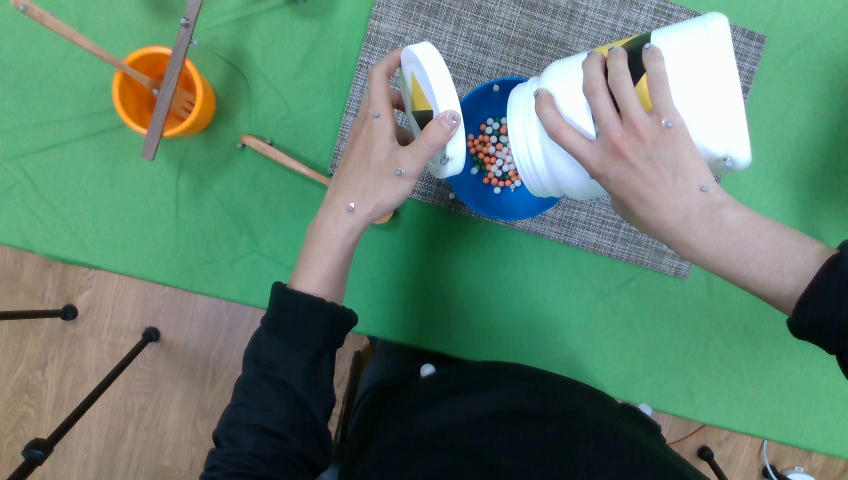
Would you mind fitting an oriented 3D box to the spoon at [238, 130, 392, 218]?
[{"bbox_3d":[-0.125,-0.080,0.693,0.194,0.021,0.042,27,108,-6],"label":"spoon"}]

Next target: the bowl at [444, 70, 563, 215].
[{"bbox_3d":[0.088,-0.104,0.671,0.151,0.076,0.151,0,96,-3],"label":"bowl"}]

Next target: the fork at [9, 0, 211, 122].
[{"bbox_3d":[-0.307,-0.180,0.609,0.028,0.018,0.209,-52,139,5],"label":"fork"}]

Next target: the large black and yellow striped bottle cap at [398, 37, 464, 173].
[{"bbox_3d":[0.004,-0.114,0.521,0.019,0.114,0.115,-18,96,-13],"label":"large black and yellow striped bottle cap"}]

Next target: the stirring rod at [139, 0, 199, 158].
[{"bbox_3d":[-0.256,-0.168,0.610,0.014,0.006,0.176,18,95,-7],"label":"stirring rod"}]

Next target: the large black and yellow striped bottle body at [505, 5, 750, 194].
[{"bbox_3d":[0.176,-0.113,0.534,0.183,0.131,0.131,-10,97,29],"label":"large black and yellow striped bottle body"}]
